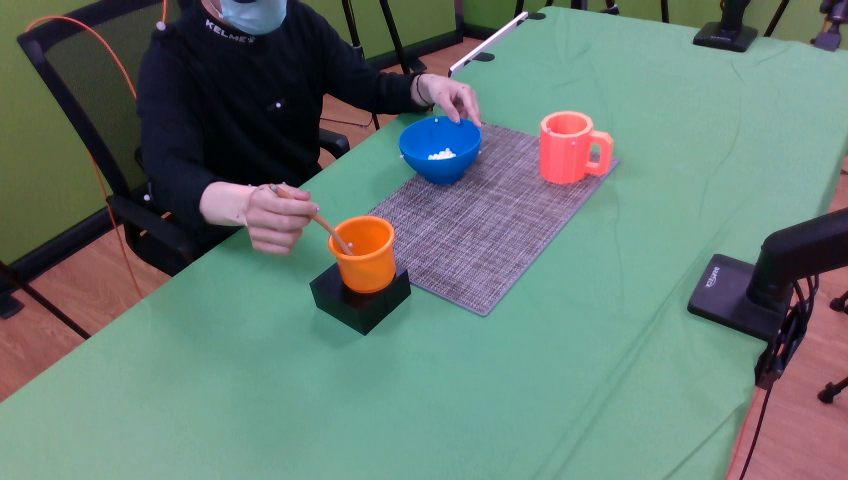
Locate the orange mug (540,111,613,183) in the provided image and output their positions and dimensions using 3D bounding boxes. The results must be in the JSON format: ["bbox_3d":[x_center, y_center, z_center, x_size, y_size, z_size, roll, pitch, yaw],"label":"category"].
[{"bbox_3d":[0.263,-0.159,1.052,0.125,0.101,0.083,13,44,28],"label":"orange mug"}]

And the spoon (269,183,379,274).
[{"bbox_3d":[-0.125,-0.013,0.781,0.021,0.195,0.041,-37,34,8],"label":"spoon"}]

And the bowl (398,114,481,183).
[{"bbox_3d":[0.031,-0.156,1.097,0.151,0.077,0.150,-4,41,4],"label":"bowl"}]
